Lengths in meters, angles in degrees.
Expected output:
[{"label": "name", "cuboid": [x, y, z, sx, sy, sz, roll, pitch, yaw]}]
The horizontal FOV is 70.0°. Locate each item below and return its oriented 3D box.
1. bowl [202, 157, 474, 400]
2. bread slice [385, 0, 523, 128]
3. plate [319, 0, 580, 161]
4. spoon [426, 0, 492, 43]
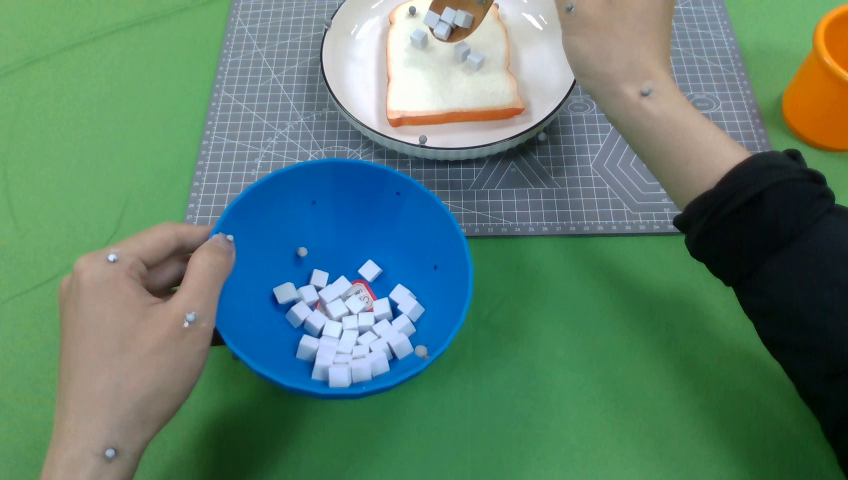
[{"label": "bowl", "cuboid": [-0.051, 0.032, 0.370, 0.152, 0.077, 0.150, 5, 59, -8]}, {"label": "bread slice", "cuboid": [0.017, -0.151, 0.504, 0.107, 0.018, 0.133, -7, 63, -1]}, {"label": "plate", "cuboid": [0.020, -0.147, 0.499, 0.209, 0.038, 0.207, -1, 62, 2]}, {"label": "spoon", "cuboid": [0.063, -0.182, 0.407, 0.022, 0.193, 0.042, -24, 97, -33]}]
